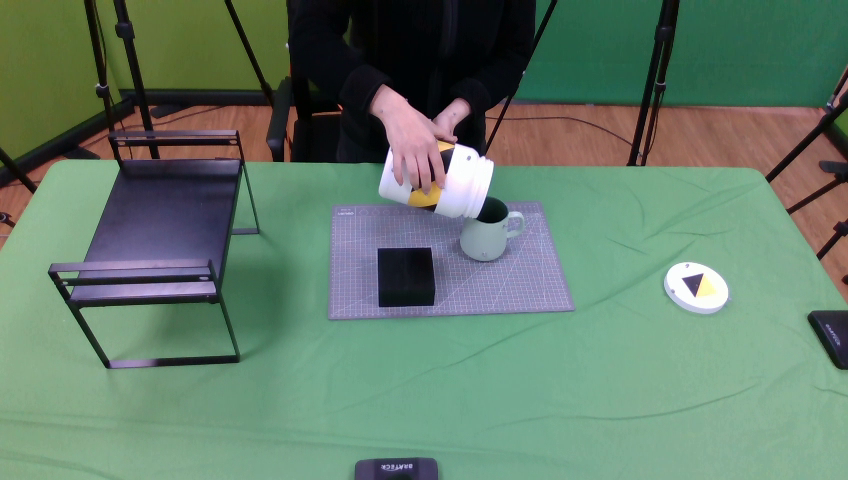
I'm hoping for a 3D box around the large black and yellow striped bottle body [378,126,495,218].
[{"bbox_3d":[0.022,-0.117,1.082,0.184,0.131,0.130,16,47,-3],"label":"large black and yellow striped bottle body"}]

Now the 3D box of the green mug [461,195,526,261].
[{"bbox_3d":[0.136,-0.024,1.168,0.125,0.105,0.092,-7,47,-10],"label":"green mug"}]

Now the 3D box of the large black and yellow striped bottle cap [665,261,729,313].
[{"bbox_3d":[0.518,0.087,1.152,0.115,0.019,0.114,2,47,-2],"label":"large black and yellow striped bottle cap"}]
